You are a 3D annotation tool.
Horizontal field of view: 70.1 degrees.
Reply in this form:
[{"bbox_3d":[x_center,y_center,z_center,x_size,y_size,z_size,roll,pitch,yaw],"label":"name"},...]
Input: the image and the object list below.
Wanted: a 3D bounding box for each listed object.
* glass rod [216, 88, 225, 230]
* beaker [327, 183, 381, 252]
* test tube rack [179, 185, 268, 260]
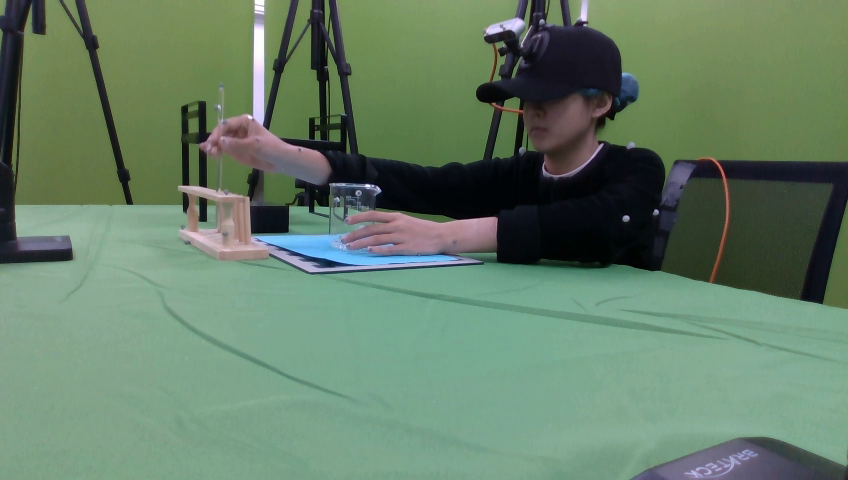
[{"bbox_3d":[-0.286,-0.114,0.849,0.008,0.199,0.008,2,-1,0],"label":"glass rod"},{"bbox_3d":[-0.108,-0.035,0.921,0.084,0.100,0.074,6,8,14],"label":"beaker"},{"bbox_3d":[-0.303,-0.031,0.898,0.067,0.085,0.241,-2,9,-33],"label":"test tube rack"}]
